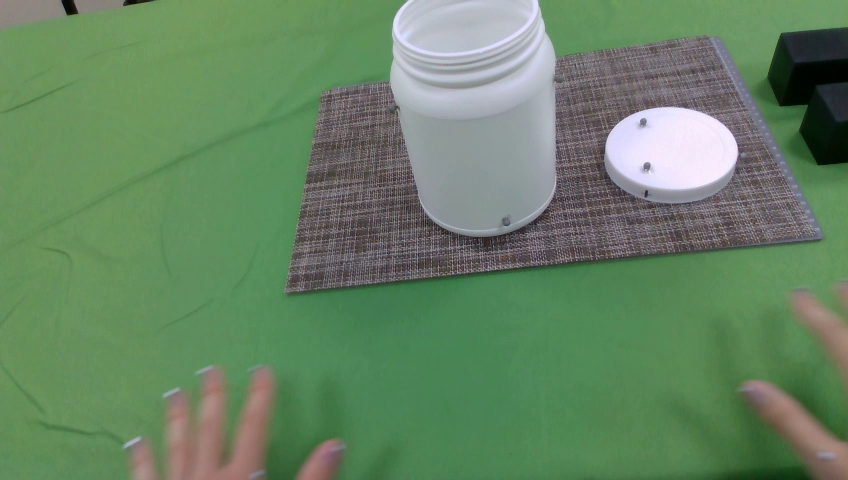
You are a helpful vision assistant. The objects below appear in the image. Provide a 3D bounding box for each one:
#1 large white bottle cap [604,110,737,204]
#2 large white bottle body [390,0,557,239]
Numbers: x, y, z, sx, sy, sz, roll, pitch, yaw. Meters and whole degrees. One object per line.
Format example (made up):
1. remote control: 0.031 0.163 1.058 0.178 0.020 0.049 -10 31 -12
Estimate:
1. large white bottle cap: 0.227 -0.079 0.563 0.115 0.018 0.113 -6 49 8
2. large white bottle body: 0.045 -0.105 0.513 0.130 0.186 0.129 -6 48 8
